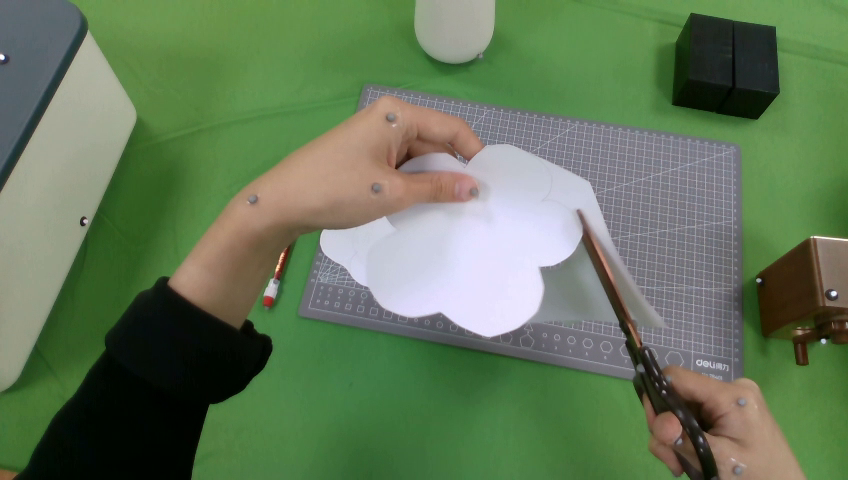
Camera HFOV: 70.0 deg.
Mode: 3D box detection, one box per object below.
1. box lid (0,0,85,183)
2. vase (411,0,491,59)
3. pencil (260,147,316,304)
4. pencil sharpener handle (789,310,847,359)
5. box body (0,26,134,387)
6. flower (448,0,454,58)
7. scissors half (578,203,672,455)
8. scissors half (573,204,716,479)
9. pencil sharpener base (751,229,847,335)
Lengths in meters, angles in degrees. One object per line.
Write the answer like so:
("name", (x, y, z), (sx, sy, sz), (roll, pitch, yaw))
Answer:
("box lid", (-0.479, -0.087, 0.517), (0.263, 0.015, 0.369), (10, 67, 3))
("vase", (0.032, -0.298, 0.676), (0.098, 0.201, 0.097), (0, 65, 1))
("pencil", (-0.145, -0.022, 0.660), (0.012, 0.012, 0.193), (11, 66, 5))
("pencil sharpener handle", (0.364, 0.088, 0.553), (0.036, 0.068, 0.030), (11, 67, -11))
("box body", (-0.479, -0.055, 0.586), (0.254, 0.161, 0.361), (10, 67, 4))
("flower", (0.028, -0.345, 0.605), (0.044, 0.365, 0.038), (3, 49, 5))
("scissors half", (0.121, 0.056, 0.364), (0.013, 0.039, 0.176), (-24, 109, 0))
("scissors half", (0.123, 0.059, 0.343), (0.013, 0.040, 0.175), (-25, 88, -5))
("pencil sharpener base", (0.373, 0.047, 0.584), (0.061, 0.108, 0.076), (6, 67, 2))
